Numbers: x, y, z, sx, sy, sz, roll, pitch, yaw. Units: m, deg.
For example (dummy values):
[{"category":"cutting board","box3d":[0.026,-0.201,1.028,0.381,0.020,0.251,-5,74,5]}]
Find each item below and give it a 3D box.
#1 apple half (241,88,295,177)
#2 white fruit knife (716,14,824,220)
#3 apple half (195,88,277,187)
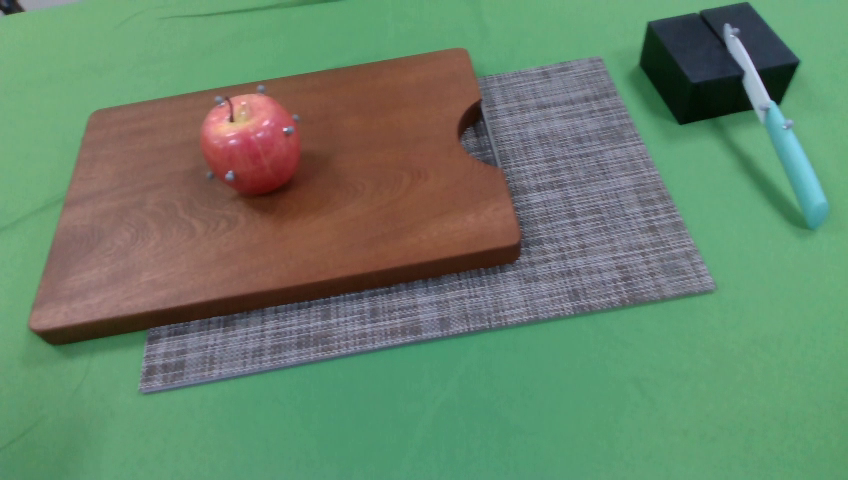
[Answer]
[{"category":"apple half","box3d":[-0.129,-0.096,0.526,0.033,0.082,0.080,-21,54,-3]},{"category":"white fruit knife","box3d":[0.292,-0.114,0.521,0.016,0.027,0.205,-12,68,-3]},{"category":"apple half","box3d":[-0.165,-0.083,0.523,0.053,0.075,0.080,-21,58,-3]}]
